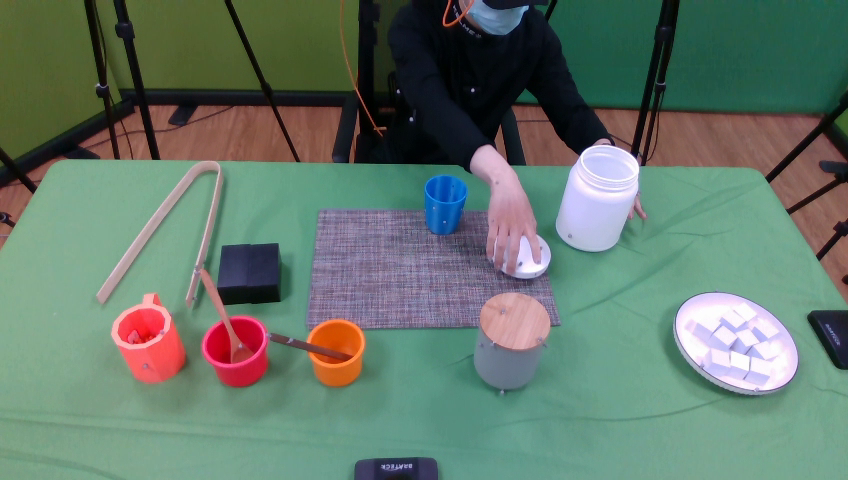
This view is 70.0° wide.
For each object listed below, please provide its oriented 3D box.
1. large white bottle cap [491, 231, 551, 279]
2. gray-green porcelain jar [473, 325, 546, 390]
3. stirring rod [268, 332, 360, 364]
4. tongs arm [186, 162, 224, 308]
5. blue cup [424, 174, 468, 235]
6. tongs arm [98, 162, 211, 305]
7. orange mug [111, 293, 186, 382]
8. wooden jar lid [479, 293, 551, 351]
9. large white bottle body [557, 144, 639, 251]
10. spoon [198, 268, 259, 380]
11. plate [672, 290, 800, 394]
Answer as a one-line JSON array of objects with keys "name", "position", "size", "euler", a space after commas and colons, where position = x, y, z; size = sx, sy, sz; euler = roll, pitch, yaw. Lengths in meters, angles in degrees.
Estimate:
[{"name": "large white bottle cap", "position": [0.186, 0.028, 1.166], "size": [0.115, 0.018, 0.114], "euler": [3, 47, -3]}, {"name": "gray-green porcelain jar", "position": [0.135, 0.170, 0.969], "size": [0.106, 0.127, 0.105], "euler": [2, 46, -2]}, {"name": "stirring rod", "position": [-0.167, 0.169, 0.941], "size": [0.177, 0.006, 0.014], "euler": [26, 25, -41]}, {"name": "tongs arm", "position": [-0.435, -0.025, 1.181], "size": [0.051, 0.027, 0.382], "euler": [-3, 45, 1]}, {"name": "blue cup", "position": [0.039, -0.065, 1.201], "size": [0.093, 0.101, 0.092], "euler": [3, 47, -3]}, {"name": "tongs arm", "position": [-0.519, -0.027, 1.184], "size": [0.028, 0.028, 0.385], "euler": [5, 45, 13]}, {"name": "orange mug", "position": [-0.435, 0.149, 0.969], "size": [0.083, 0.101, 0.125], "euler": [-5, 51, -8]}, {"name": "wooden jar lid", "position": [0.137, 0.127, 0.925], "size": [0.108, 0.021, 0.107], "euler": [1, 47, -1]}, {"name": "large white bottle body", "position": [0.341, -0.082, 1.185], "size": [0.131, 0.185, 0.130], "euler": [2, 46, -2]}, {"name": "spoon", "position": [-0.313, 0.132, 0.962], "size": [0.041, 0.021, 0.194], "euler": [-24, 96, -21]}, {"name": "plate", "position": [0.533, 0.178, 1.050], "size": [0.208, 0.039, 0.206], "euler": [2, 46, -2]}]
